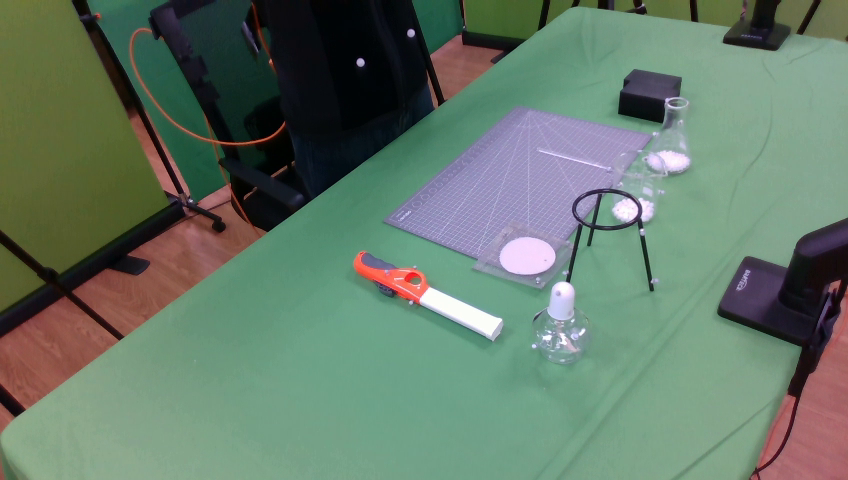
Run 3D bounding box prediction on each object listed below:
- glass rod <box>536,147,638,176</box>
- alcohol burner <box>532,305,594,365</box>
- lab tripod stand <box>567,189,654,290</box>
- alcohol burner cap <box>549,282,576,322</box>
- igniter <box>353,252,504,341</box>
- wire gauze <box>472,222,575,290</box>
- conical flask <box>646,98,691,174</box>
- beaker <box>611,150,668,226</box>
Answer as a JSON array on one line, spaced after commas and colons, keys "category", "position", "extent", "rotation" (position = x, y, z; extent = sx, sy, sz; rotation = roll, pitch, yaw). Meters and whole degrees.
[{"category": "glass rod", "position": [0.294, -0.145, 1.104], "extent": [0.198, 0.008, 0.008], "rotation": [22, 50, 31]}, {"category": "alcohol burner", "position": [0.174, 0.100, 0.761], "extent": [0.078, 0.119, 0.077], "rotation": [-6, 38, 5]}, {"category": "lab tripod stand", "position": [0.251, 0.003, 0.845], "extent": [0.148, 0.132, 0.147], "rotation": [-7, 39, 6]}, {"category": "alcohol burner cap", "position": [0.171, 0.073, 0.737], "extent": [0.034, 0.048, 0.033], "rotation": [-2, 38, 2]}, {"category": "igniter", "position": [-0.005, 0.077, 0.889], "extent": [0.274, 0.025, 0.057], "rotation": [23, 59, 33]}, {"category": "wire gauze", "position": [0.158, 0.024, 0.933], "extent": [0.120, 0.011, 0.125], "rotation": [21, 49, 31]}, {"category": "conical flask", "position": [0.426, -0.180, 1.037], "extent": [0.075, 0.122, 0.075], "rotation": [-5, 40, 5]}, {"category": "beaker", "position": [0.337, -0.079, 0.953], "extent": [0.083, 0.101, 0.074], "rotation": [25, 51, 33]}]
